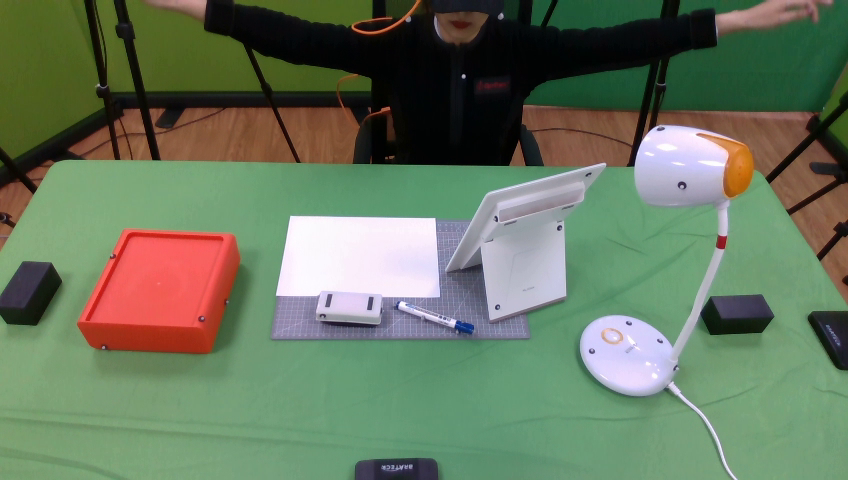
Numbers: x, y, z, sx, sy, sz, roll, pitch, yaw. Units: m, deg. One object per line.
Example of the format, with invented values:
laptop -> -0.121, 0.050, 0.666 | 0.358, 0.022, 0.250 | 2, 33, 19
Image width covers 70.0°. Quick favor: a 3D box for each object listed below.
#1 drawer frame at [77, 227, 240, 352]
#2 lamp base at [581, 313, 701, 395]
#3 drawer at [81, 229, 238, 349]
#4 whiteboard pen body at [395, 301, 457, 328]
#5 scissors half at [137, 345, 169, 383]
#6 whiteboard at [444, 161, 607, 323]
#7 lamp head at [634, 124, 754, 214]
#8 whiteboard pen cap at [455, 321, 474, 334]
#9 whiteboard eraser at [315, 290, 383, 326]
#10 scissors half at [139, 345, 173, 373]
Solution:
drawer frame -> -0.444, 0.081, 1.044 | 0.202, 0.083, 0.212 | 3, 47, -3
lamp base -> 0.361, 0.144, 0.972 | 0.178, 0.181, 0.160 | 34, 53, 23
drawer -> -0.445, 0.080, 1.046 | 0.194, 0.073, 0.210 | 3, 47, -2
whiteboard pen body -> 0.015, 0.134, 1.064 | 0.140, 0.017, 0.017 | 17, 47, 16
scissors half -> -0.479, 0.171, 0.997 | 0.175, 0.040, 0.013 | 48, 46, -3
whiteboard -> 0.186, 0.025, 1.029 | 0.217, 0.306, 0.143 | -14, 68, -18
lamp head -> 0.351, -0.089, 0.775 | 0.112, 0.113, 0.122 | -30, 30, -28
whiteboard pen cap -> 0.069, 0.151, 1.046 | 0.033, 0.018, 0.018 | 14, 47, 16
whiteboard eraser -> -0.130, 0.120, 1.054 | 0.113, 0.042, 0.055 | 4, 47, 0
scissors half -> -0.475, 0.164, 0.987 | 0.175, 0.040, 0.013 | 36, 52, 9
